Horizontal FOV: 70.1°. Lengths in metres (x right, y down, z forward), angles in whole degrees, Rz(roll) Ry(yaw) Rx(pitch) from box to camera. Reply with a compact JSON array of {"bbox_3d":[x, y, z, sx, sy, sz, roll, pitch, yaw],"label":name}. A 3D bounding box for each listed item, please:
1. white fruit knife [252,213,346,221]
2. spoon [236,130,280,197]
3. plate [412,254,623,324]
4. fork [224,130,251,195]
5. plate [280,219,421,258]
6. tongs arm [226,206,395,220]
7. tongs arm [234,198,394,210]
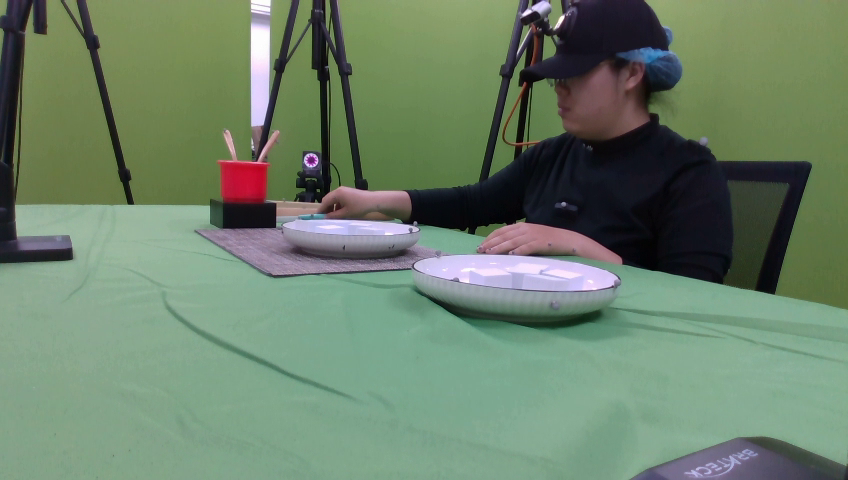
[{"bbox_3d":[-0.266,-0.047,1.307,0.208,0.016,0.027,-3,-26,-25],"label":"white fruit knife"},{"bbox_3d":[-0.321,-0.154,1.192,0.041,0.193,0.022,0,-37,19],"label":"spoon"},{"bbox_3d":[0.090,0.047,0.609,0.209,0.038,0.209,2,7,0],"label":"plate"},{"bbox_3d":[-0.372,-0.155,1.193,0.028,0.018,0.206,-17,54,-14],"label":"fork"},{"bbox_3d":[-0.108,-0.002,0.902,0.208,0.039,0.207,3,7,0],"label":"plate"},{"bbox_3d":[-0.248,-0.061,1.382,0.389,0.028,0.028,0,5,-21],"label":"tongs arm"},{"bbox_3d":[-0.263,-0.076,1.460,0.386,0.026,0.050,3,8,-8],"label":"tongs arm"}]
